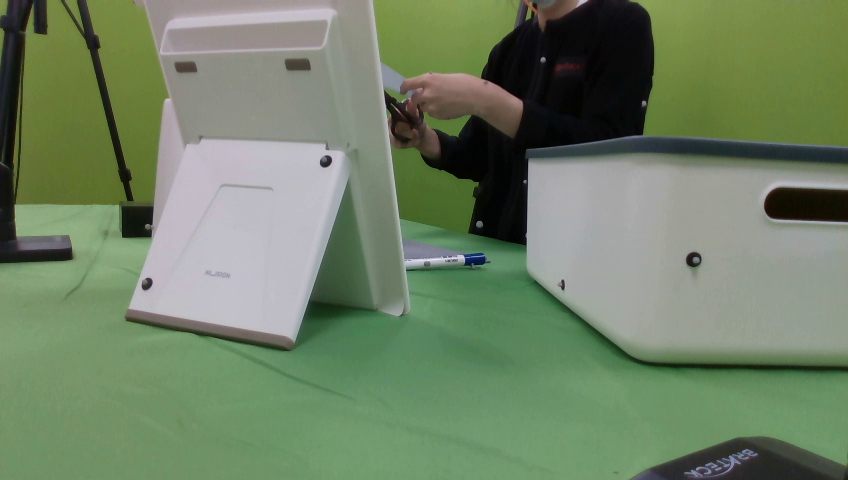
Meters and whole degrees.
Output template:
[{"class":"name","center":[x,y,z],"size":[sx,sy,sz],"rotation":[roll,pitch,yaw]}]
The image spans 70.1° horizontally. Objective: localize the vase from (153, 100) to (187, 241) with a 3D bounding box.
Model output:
[{"class":"vase","center":[-0.278,-0.066,0.736],"size":[0.098,0.200,0.098],"rotation":[2,9,0]}]

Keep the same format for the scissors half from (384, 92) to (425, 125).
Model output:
[{"class":"scissors half","center":[-0.055,-0.253,1.070],"size":[0.013,0.040,0.176],"rotation":[16,-5,42]}]

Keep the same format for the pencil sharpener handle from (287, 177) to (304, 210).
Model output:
[{"class":"pencil sharpener handle","center":[-0.269,-0.096,1.257],"size":[0.036,0.067,0.030],"rotation":[-8,8,-27]}]

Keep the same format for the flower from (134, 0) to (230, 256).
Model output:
[{"class":"flower","center":[-0.282,-0.147,0.713],"size":[0.038,0.362,0.044],"rotation":[-23,24,-31]}]

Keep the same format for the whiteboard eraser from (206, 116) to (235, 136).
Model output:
[{"class":"whiteboard eraser","center":[-0.450,-0.252,1.335],"size":[0.056,0.042,0.112],"rotation":[1,7,-22]}]

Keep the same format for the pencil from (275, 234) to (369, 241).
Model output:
[{"class":"pencil","center":[-0.169,-0.006,1.036],"size":[0.195,0.012,0.012],"rotation":[-2,8,-45]}]

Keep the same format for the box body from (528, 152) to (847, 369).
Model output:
[{"class":"box body","center":[0.257,-0.005,0.591],"size":[0.254,0.160,0.363],"rotation":[2,7,-4]}]

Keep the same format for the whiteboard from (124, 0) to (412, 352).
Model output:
[{"class":"whiteboard","center":[-0.151,-0.049,0.472],"size":[0.216,0.305,0.144],"rotation":[6,27,24]}]

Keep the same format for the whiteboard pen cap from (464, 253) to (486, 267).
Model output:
[{"class":"whiteboard pen cap","center":[0.066,0.027,0.818],"size":[0.033,0.018,0.018],"rotation":[-6,10,-24]}]

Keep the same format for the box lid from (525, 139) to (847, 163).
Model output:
[{"class":"box lid","center":[0.261,-0.078,0.580],"size":[0.264,0.015,0.371],"rotation":[2,7,-4]}]

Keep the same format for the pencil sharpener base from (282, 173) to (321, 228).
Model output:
[{"class":"pencil sharpener base","center":[-0.247,-0.080,1.212],"size":[0.061,0.107,0.076],"rotation":[-2,5,-28]}]

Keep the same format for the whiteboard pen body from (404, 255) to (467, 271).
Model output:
[{"class":"whiteboard pen body","center":[0.012,0.030,0.792],"size":[0.141,0.017,0.017],"rotation":[-3,9,-24]}]

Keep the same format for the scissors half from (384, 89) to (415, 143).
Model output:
[{"class":"scissors half","center":[-0.065,-0.235,1.066],"size":[0.012,0.040,0.176],"rotation":[23,-22,43]}]
